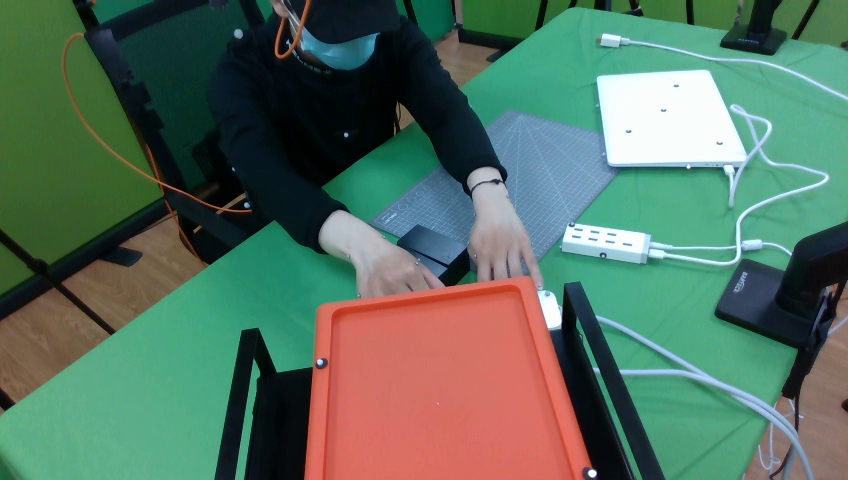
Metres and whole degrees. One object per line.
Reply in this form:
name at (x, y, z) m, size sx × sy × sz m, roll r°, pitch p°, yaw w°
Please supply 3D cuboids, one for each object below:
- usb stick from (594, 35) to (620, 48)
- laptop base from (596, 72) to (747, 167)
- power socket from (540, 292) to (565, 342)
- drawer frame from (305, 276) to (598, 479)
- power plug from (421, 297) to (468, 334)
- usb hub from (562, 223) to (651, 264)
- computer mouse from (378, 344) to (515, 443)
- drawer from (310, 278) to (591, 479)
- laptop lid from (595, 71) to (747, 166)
usb stick at (0.443, -0.482, 1.467) m, size 0.059 × 0.021 × 0.027 m, roll 10°, pitch 43°, yaw 10°
laptop base at (0.469, -0.239, 1.189) m, size 0.235 × 0.023 × 0.353 m, roll -1°, pitch 40°, yaw 12°
power socket at (0.079, 0.112, 0.822) m, size 0.227 × 0.033 × 0.072 m, roll -5°, pitch 41°, yaw 1°
drawer frame at (0.014, 0.137, 0.486) m, size 0.202 × 0.083 × 0.212 m, roll -8°, pitch 41°, yaw -1°
power plug at (0.023, 0.104, 0.772) m, size 0.035 × 0.053 × 0.072 m, roll -18°, pitch 57°, yaw -16°
usb hub at (0.279, 0.004, 0.926) m, size 0.124 × 0.025 × 0.049 m, roll 10°, pitch 43°, yaw 19°
computer mouse at (0.018, 0.126, 0.521) m, size 0.116 × 0.041 × 0.063 m, roll 13°, pitch 47°, yaw 29°
drawer at (0.013, 0.137, 0.489) m, size 0.195 × 0.073 × 0.210 m, roll -7°, pitch 41°, yaw 0°
laptop lid at (0.465, -0.248, 1.181) m, size 0.241 × 0.013 × 0.355 m, roll 1°, pitch 41°, yaw 12°
